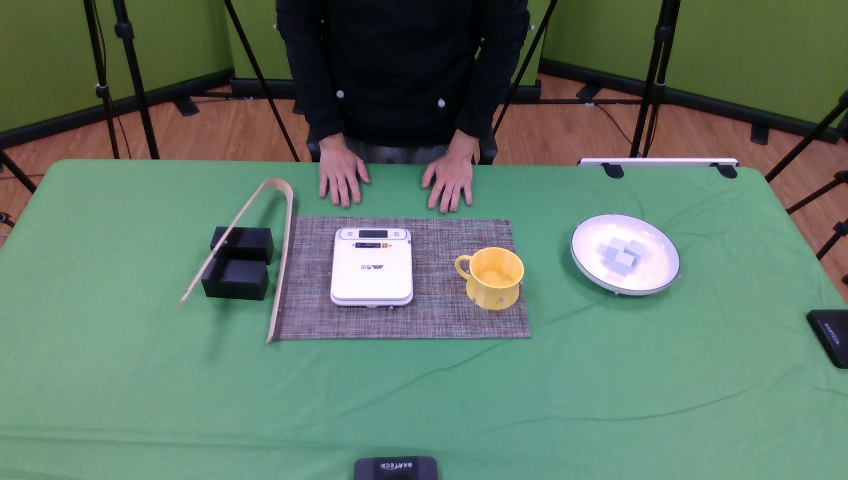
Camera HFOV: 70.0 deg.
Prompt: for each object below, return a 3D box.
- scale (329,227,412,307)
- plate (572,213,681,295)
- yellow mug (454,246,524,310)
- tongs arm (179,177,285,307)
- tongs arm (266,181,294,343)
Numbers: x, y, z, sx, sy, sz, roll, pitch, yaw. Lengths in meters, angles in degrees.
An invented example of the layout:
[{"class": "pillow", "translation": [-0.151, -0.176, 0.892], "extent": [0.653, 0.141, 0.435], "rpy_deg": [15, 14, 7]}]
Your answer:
[{"class": "scale", "translation": [-0.099, 0.042, 1.139], "extent": [0.149, 0.032, 0.199], "rpy_deg": [1, 46, -4]}, {"class": "plate", "translation": [0.392, 0.030, 1.189], "extent": [0.208, 0.039, 0.206], "rpy_deg": [2, 46, -2]}, {"class": "yellow mug", "translation": [0.115, 0.064, 1.111], "extent": [0.130, 0.064, 0.099], "rpy_deg": [21, 49, 17]}, {"class": "tongs arm", "translation": [-0.342, -0.008, 1.118], "extent": [0.051, 0.026, 0.382], "rpy_deg": [29, 38, -14]}, {"class": "tongs arm", "translation": [-0.273, 0.027, 1.144], "extent": [0.028, 0.028, 0.385], "rpy_deg": [17, 42, -22]}]
